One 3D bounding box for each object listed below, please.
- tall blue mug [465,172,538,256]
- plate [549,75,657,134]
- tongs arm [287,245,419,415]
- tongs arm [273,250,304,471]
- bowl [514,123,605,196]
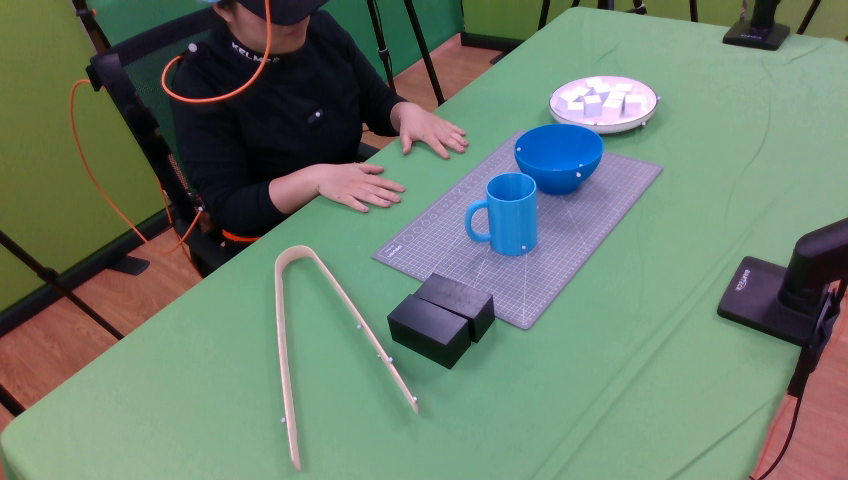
[{"bbox_3d":[0.125,-0.033,0.925,0.107,0.108,0.077,-32,46,-25],"label":"tall blue mug"},{"bbox_3d":[0.357,-0.269,1.220,0.209,0.038,0.208,-5,41,5],"label":"plate"},{"bbox_3d":[-0.114,0.113,0.859,0.051,0.027,0.381,-28,43,-12],"label":"tongs arm"},{"bbox_3d":[-0.188,0.145,0.845,0.028,0.028,0.384,-22,41,1],"label":"tongs arm"},{"bbox_3d":[0.232,-0.131,1.046,0.151,0.077,0.150,-5,40,5],"label":"bowl"}]
